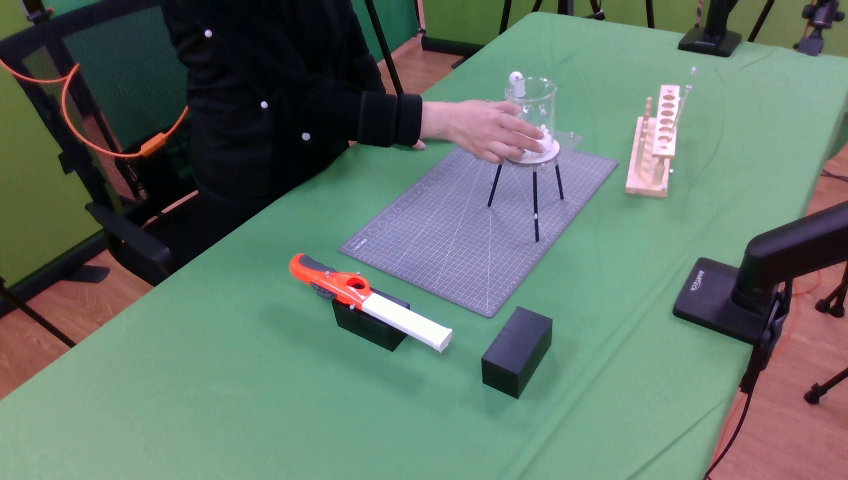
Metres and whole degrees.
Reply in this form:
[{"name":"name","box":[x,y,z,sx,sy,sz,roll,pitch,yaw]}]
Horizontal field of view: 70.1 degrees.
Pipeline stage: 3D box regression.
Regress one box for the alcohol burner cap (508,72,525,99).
[{"name":"alcohol burner cap","box":[0.181,-0.306,1.186,0.034,0.048,0.033,-7,39,6]}]

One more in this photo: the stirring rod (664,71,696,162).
[{"name":"stirring rod","box":[0.411,-0.196,0.981,0.014,0.177,0.006,11,50,13]}]

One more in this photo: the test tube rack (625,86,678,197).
[{"name":"test tube rack","box":[0.412,-0.184,1.088,0.066,0.085,0.242,9,43,18]}]

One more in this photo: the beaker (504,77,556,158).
[{"name":"beaker","box":[0.160,-0.181,0.900,0.084,0.101,0.073,-32,46,-27]}]

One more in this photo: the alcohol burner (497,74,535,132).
[{"name":"alcohol burner","box":[0.184,-0.278,1.210,0.078,0.119,0.077,-3,42,3]}]

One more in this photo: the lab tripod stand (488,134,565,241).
[{"name":"lab tripod stand","box":[0.169,-0.092,0.972,0.148,0.132,0.147,-5,41,5]}]

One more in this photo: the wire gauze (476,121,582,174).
[{"name":"wire gauze","box":[0.162,-0.142,0.929,0.120,0.011,0.125,19,49,32]}]

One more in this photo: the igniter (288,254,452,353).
[{"name":"igniter","box":[-0.083,0.080,0.818,0.274,0.025,0.057,23,46,27]}]
